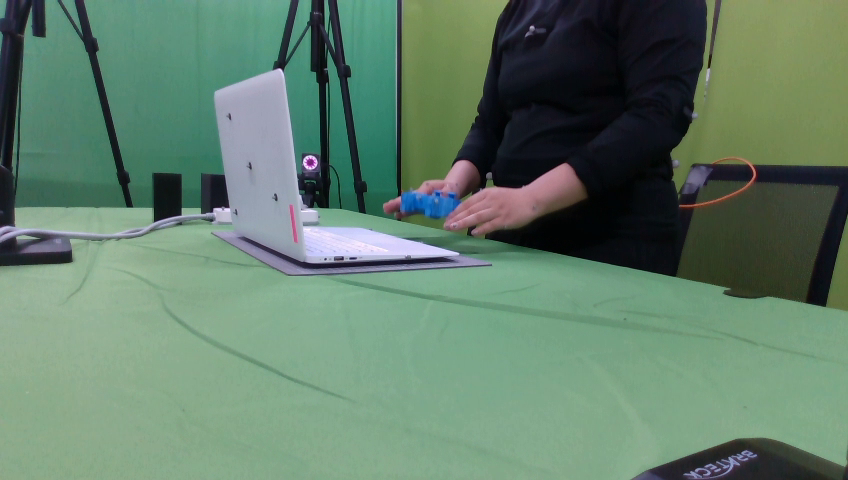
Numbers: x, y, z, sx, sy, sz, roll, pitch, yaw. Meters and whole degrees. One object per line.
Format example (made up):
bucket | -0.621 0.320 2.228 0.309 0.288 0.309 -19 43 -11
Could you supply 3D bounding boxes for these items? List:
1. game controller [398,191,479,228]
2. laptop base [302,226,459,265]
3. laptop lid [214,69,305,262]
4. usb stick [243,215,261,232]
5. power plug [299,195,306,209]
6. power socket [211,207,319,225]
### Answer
game controller | 0.022 -0.060 1.052 0.097 0.051 0.154 9 3 -29
laptop base | -0.136 0.006 0.951 0.237 0.023 0.352 2 6 -32
laptop lid | -0.246 -0.107 0.865 0.013 0.241 0.355 -11 14 -30
usb stick | -0.302 -0.029 1.071 0.021 0.027 0.059 0 11 -30
power plug | -0.283 -0.075 1.342 0.035 0.052 0.072 0 3 -19
power socket | -0.334 -0.051 1.281 0.228 0.032 0.072 -1 9 -29
